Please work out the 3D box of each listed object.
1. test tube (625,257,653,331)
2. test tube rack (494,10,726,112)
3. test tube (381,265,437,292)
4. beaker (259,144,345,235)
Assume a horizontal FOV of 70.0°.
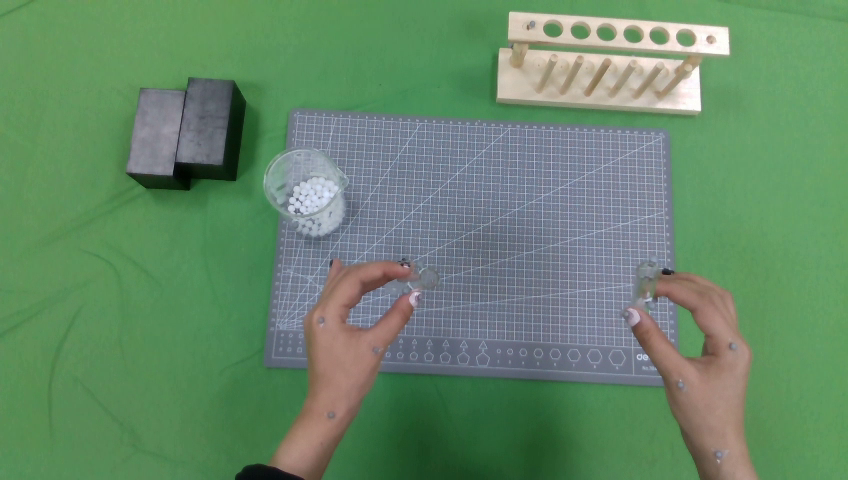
[{"bbox_3d":[0.170,0.047,0.481,0.017,0.152,0.017,-6,65,14],"label":"test tube"},{"bbox_3d":[0.207,-0.203,0.697,0.242,0.085,0.066,3,77,-1],"label":"test tube rack"},{"bbox_3d":[-0.016,0.035,0.515,0.017,0.150,0.017,2,83,-15],"label":"test tube"},{"bbox_3d":[-0.121,-0.049,0.641,0.084,0.100,0.073,-5,78,-3],"label":"beaker"}]
